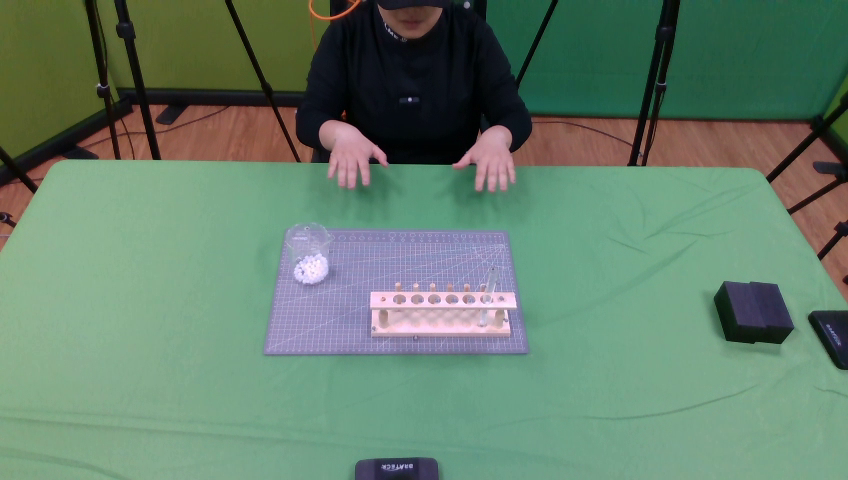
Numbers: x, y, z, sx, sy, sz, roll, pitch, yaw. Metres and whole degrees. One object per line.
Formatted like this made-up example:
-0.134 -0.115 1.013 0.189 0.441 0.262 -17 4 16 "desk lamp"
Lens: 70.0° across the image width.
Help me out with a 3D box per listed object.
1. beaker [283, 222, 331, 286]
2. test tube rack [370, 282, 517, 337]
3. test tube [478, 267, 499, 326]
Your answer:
-0.208 0.028 1.098 0.084 0.101 0.073 2 46 -4 "beaker"
0.030 0.116 1.041 0.242 0.085 0.066 1 46 -4 "test tube rack"
0.105 0.096 0.997 0.017 0.151 0.017 2 49 -2 "test tube"
